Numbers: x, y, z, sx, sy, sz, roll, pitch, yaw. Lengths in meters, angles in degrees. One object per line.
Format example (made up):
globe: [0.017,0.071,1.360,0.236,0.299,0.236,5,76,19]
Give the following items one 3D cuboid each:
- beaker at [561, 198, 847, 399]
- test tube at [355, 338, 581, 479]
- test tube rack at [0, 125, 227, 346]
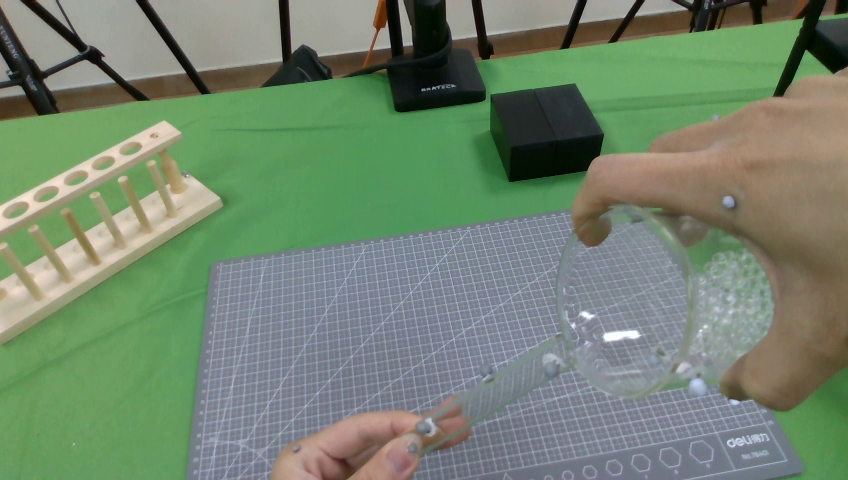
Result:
beaker: [0.118,0.026,0.252,0.101,0.084,0.073,0,52,-22]
test tube: [0.014,0.090,0.298,0.150,0.017,0.017,-40,37,30]
test tube rack: [-0.326,-0.012,0.596,0.066,0.086,0.242,33,57,30]
